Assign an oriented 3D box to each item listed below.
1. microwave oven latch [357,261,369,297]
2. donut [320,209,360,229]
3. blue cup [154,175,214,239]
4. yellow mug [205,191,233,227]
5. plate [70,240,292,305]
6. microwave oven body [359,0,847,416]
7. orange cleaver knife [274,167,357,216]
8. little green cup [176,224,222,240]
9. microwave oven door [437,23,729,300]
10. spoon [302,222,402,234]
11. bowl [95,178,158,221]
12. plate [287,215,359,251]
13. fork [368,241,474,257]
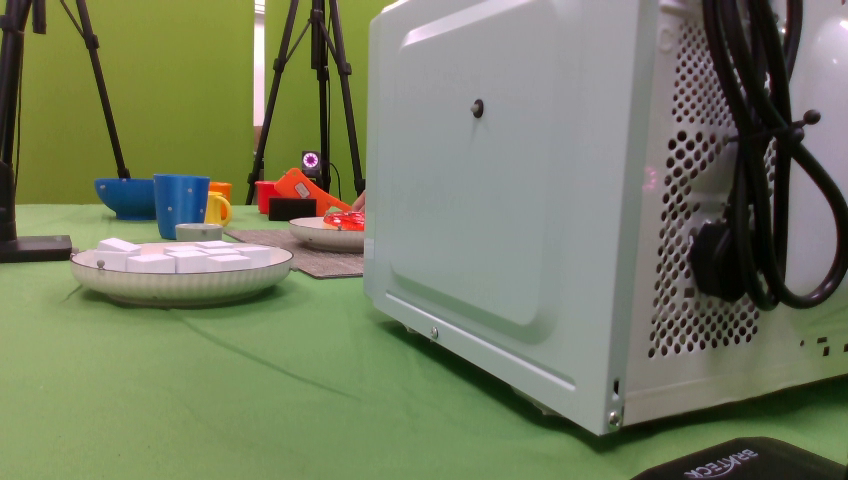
[{"bbox_3d":[-0.019,0.033,0.531,0.079,0.029,0.030,-1,7,-27],"label":"microwave oven latch"},{"bbox_3d":[-0.115,-0.023,0.961,0.099,0.048,0.099,5,9,0],"label":"donut"},{"bbox_3d":[-0.390,-0.053,0.978,0.093,0.100,0.092,3,6,0],"label":"blue cup"},{"bbox_3d":[-0.415,-0.057,1.132,0.130,0.064,0.100,6,8,16],"label":"yellow mug"},{"bbox_3d":[-0.242,0.031,0.618,0.208,0.039,0.207,2,8,0],"label":"plate"},{"bbox_3d":[0.211,-0.047,0.474,0.444,0.260,0.324,-1,7,-28],"label":"microwave oven body"},{"bbox_3d":[-0.238,-0.091,1.381,0.212,0.077,0.012,31,0,-19],"label":"orange cleaver knife"},{"bbox_3d":[-0.312,-0.001,0.842,0.061,0.038,0.061,2,8,0],"label":"little green cup"},{"bbox_3d":[0.181,-0.072,0.621,0.358,0.243,0.039,-2,8,-29],"label":"microwave oven door"},{"bbox_3d":[-0.127,-0.024,1.105,0.195,0.021,0.041,-3,-16,-31],"label":"spoon"},{"bbox_3d":[-0.576,-0.081,1.217,0.151,0.077,0.151,3,8,0],"label":"bowl"},{"bbox_3d":[-0.112,-0.012,0.960,0.209,0.038,0.209,3,8,0],"label":"plate"},{"bbox_3d":[0.004,0.012,0.885,0.208,0.018,0.028,-6,-4,-45],"label":"fork"}]
